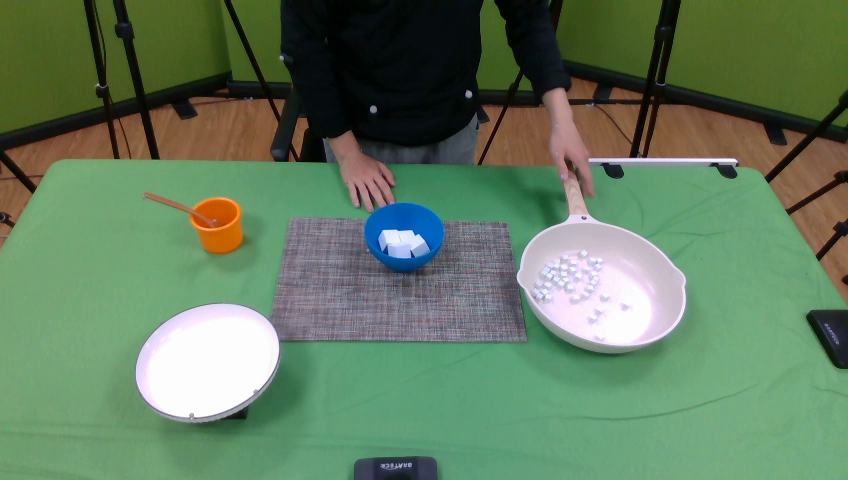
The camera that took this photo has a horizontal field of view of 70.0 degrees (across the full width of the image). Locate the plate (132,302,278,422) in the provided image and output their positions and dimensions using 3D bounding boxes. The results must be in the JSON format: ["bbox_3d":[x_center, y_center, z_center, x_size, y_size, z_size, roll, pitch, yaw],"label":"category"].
[{"bbox_3d":[-0.325,0.186,0.916,0.208,0.039,0.206,3,44,-2],"label":"plate"}]

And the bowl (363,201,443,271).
[{"bbox_3d":[-0.041,0.006,1.145,0.151,0.077,0.150,2,46,-2],"label":"bowl"}]

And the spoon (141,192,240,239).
[{"bbox_3d":[-0.428,-0.048,1.122,0.021,0.195,0.041,-38,44,21],"label":"spoon"}]

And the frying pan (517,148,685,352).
[{"bbox_3d":[0.310,0.002,1.163,0.307,0.103,0.484,0,55,-5],"label":"frying pan"}]
